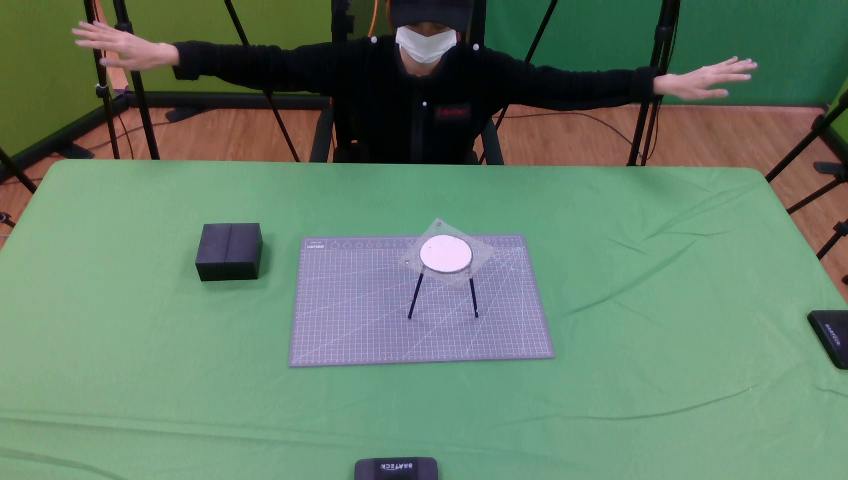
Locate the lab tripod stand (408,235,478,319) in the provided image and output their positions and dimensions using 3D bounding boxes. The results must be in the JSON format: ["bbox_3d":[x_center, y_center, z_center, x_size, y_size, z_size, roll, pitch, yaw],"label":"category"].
[{"bbox_3d":[0.032,0.065,1.057,0.148,0.132,0.147,1,45,-1],"label":"lab tripod stand"}]

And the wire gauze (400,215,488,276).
[{"bbox_3d":[0.035,0.004,1.000,0.125,0.011,0.121,7,49,13],"label":"wire gauze"}]
